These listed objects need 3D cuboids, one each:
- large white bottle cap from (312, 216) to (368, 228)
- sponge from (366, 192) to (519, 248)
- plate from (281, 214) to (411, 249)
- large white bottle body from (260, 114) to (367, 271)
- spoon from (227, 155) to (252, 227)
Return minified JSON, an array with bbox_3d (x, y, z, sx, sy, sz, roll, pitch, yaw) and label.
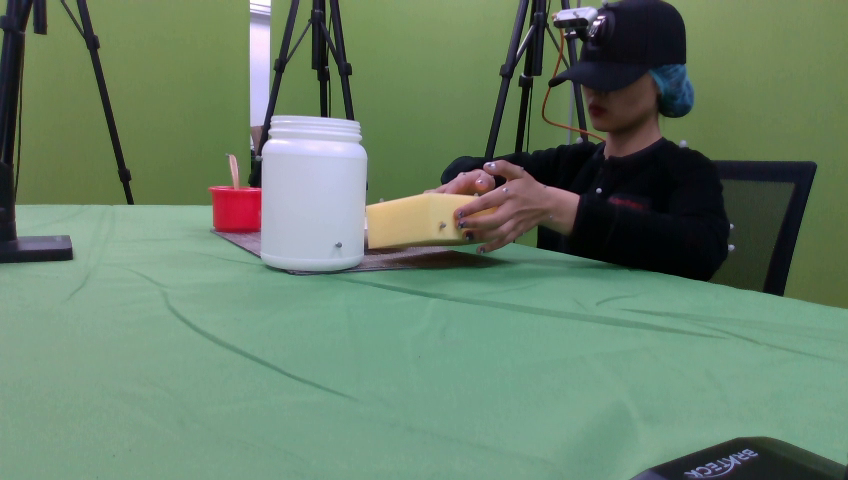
[{"bbox_3d":[-0.171,-0.038,1.234,0.115,0.018,0.115,2,5,0],"label":"large white bottle cap"},{"bbox_3d":[0.031,-0.026,0.862,0.117,0.061,0.208,-8,-4,39],"label":"sponge"},{"bbox_3d":[-0.125,-0.014,0.979,0.209,0.038,0.209,2,7,0],"label":"plate"},{"bbox_3d":[-0.139,-0.062,0.763,0.131,0.184,0.130,3,8,0],"label":"large white bottle body"},{"bbox_3d":[-0.343,-0.093,1.109,0.042,0.021,0.193,-1,52,-22],"label":"spoon"}]
